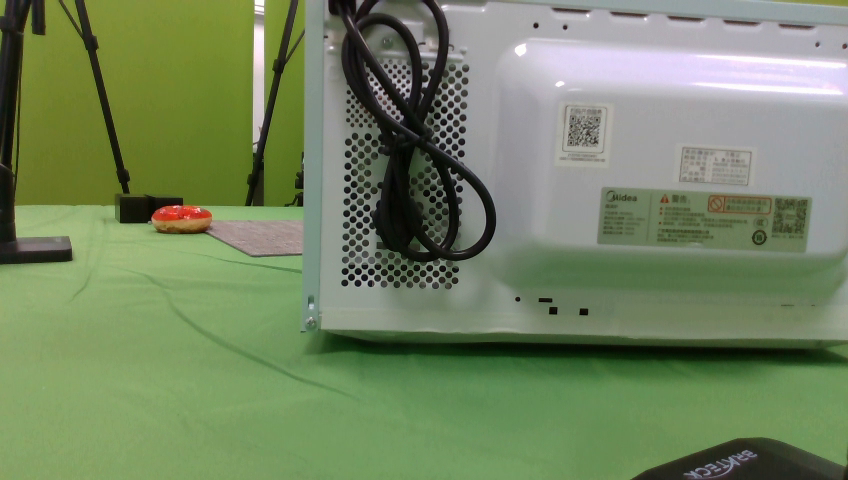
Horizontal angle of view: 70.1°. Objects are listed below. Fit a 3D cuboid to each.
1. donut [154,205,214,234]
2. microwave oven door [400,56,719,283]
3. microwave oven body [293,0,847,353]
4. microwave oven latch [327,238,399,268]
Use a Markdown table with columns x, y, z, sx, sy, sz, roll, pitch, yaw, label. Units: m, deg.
| x | y | z | sx | sy | sz | roll | pitch | yaw | label |
| --- | --- | --- | --- | --- | --- | --- | --- | --- | --- |
| -0.426 | -0.037 | 1.075 | 0.099 | 0.048 | 0.099 | 2 | 12 | 0 | donut |
| 0.155 | -0.077 | 0.697 | 0.356 | 0.243 | 0.039 | 2 | 8 | -5 | microwave oven door |
| 0.122 | -0.055 | 0.550 | 0.442 | 0.260 | 0.325 | 3 | 7 | -5 | microwave oven body |
| -0.069 | 0.015 | 0.694 | 0.079 | 0.029 | 0.030 | 3 | 7 | -3 | microwave oven latch |
